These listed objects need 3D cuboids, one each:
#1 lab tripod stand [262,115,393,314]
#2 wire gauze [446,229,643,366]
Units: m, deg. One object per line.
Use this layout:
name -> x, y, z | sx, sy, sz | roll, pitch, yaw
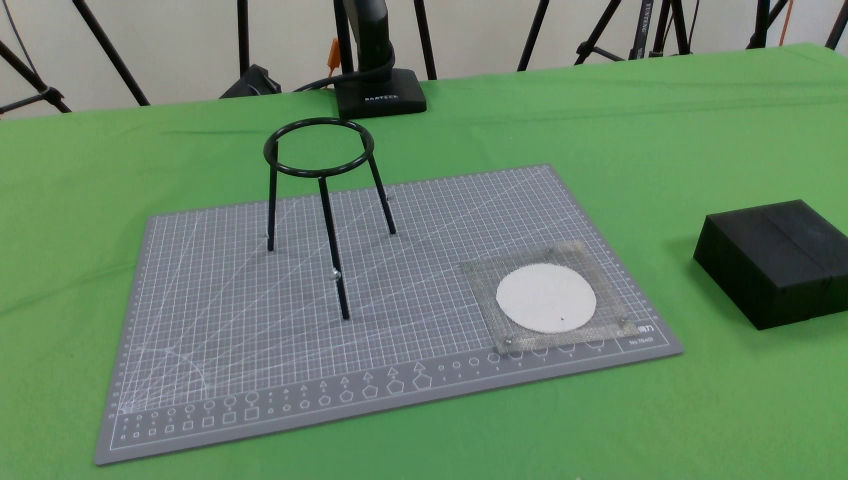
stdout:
lab tripod stand -> -0.083, -0.029, 0.534 | 0.148, 0.132, 0.147 | 1, 40, 0
wire gauze -> 0.101, 0.041, 0.521 | 0.122, 0.011, 0.123 | -20, 49, -24
